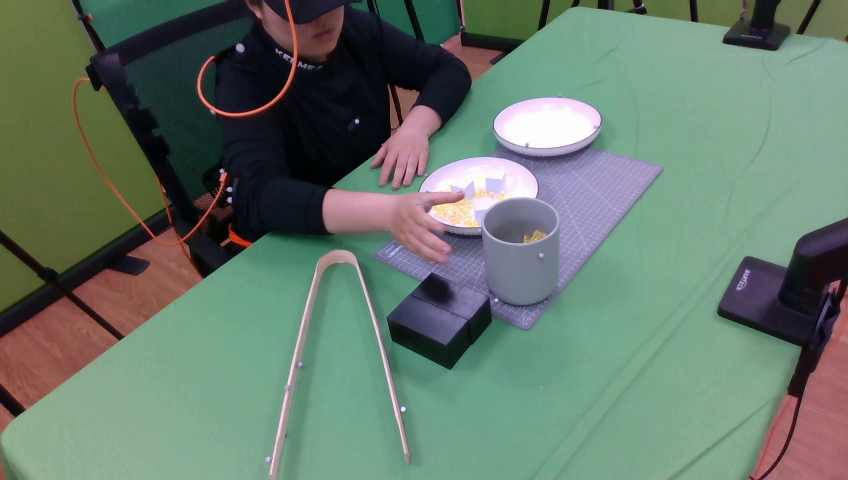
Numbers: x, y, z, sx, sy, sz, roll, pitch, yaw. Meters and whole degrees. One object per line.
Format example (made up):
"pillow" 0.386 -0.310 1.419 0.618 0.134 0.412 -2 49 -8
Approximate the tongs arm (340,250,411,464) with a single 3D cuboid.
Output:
"tongs arm" -0.071 0.136 0.830 0.028 0.028 0.384 -18 40 -5

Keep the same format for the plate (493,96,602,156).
"plate" 0.238 -0.218 1.180 0.209 0.038 0.208 -4 39 4

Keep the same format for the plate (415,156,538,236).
"plate" 0.090 -0.072 1.034 0.207 0.039 0.206 -5 40 5

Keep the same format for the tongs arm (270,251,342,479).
"tongs arm" -0.153 0.148 0.826 0.051 0.026 0.382 -6 38 3

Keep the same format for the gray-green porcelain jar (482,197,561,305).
"gray-green porcelain jar" 0.138 0.020 0.846 0.106 0.127 0.105 -5 40 5
